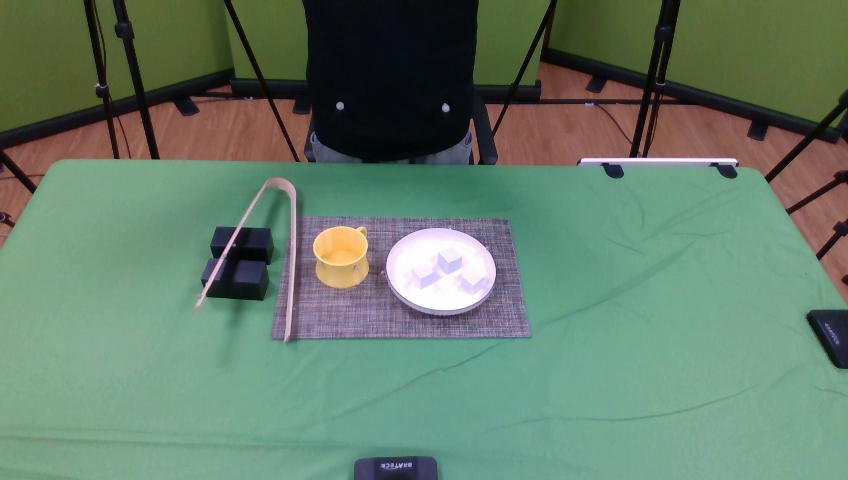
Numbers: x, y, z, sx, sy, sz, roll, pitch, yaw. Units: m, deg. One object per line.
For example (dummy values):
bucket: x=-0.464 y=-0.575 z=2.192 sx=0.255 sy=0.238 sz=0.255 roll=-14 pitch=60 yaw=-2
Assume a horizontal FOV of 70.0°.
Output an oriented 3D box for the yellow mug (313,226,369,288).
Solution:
yellow mug: x=-0.146 y=0.021 z=1.131 sx=0.099 sy=0.064 sz=0.130 roll=24 pitch=49 yaw=19

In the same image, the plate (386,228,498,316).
plate: x=0.033 y=0.062 z=1.126 sx=0.208 sy=0.039 sz=0.206 roll=2 pitch=46 yaw=-2

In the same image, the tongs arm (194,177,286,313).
tongs arm: x=-0.328 y=-0.004 z=1.113 sx=0.051 sy=0.026 sz=0.382 roll=24 pitch=38 yaw=-15

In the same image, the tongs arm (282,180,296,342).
tongs arm: x=-0.256 y=0.026 z=1.141 sx=0.028 sy=0.028 sz=0.385 roll=12 pitch=43 yaw=-23
